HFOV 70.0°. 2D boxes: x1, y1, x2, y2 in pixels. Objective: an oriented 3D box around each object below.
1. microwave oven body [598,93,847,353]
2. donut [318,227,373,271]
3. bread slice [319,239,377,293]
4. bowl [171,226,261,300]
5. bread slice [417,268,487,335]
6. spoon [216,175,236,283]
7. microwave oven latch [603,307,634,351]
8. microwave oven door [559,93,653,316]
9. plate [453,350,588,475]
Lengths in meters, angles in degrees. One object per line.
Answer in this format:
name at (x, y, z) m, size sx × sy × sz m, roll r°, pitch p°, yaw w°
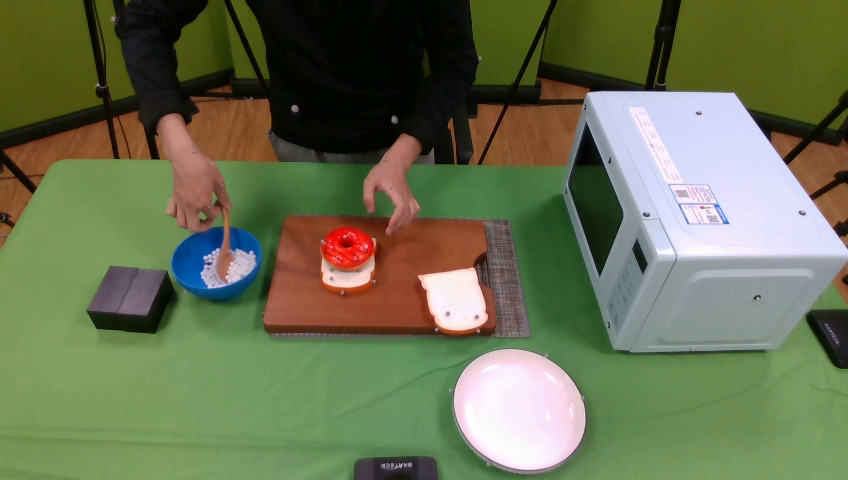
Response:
microwave oven body at (0.475, -0.041, 1.109) m, size 0.326 × 0.261 × 0.438 m, roll -1°, pitch 45°, yaw -4°
donut at (-0.141, 0.017, 1.096) m, size 0.099 × 0.048 × 0.098 m, roll 2°, pitch 44°, yaw -2°
bread slice at (-0.140, 0.044, 1.111) m, size 0.105 × 0.019 × 0.130 m, roll 0°, pitch 44°, yaw -3°
bowl at (-0.363, 0.054, 1.081) m, size 0.151 × 0.077 × 0.150 m, roll 3°, pitch 45°, yaw -3°
bread slice at (0.055, 0.107, 1.063) m, size 0.107 × 0.018 × 0.133 m, roll -9°, pitch 48°, yaw -12°
spoon at (-0.355, -0.020, 1.082) m, size 0.021 × 0.193 × 0.042 m, roll 0°, pitch 1°, yaw 37°
microwave oven latch at (0.332, 0.153, 1.044) m, size 0.030 × 0.029 × 0.078 m, roll 0°, pitch 45°, yaw -4°
microwave oven door at (0.327, -0.074, 1.123) m, size 0.039 × 0.245 × 0.353 m, roll -1°, pitch 46°, yaw -5°
plate at (0.147, 0.267, 0.943) m, size 0.208 × 0.039 × 0.206 m, roll 2°, pitch 45°, yaw -2°
